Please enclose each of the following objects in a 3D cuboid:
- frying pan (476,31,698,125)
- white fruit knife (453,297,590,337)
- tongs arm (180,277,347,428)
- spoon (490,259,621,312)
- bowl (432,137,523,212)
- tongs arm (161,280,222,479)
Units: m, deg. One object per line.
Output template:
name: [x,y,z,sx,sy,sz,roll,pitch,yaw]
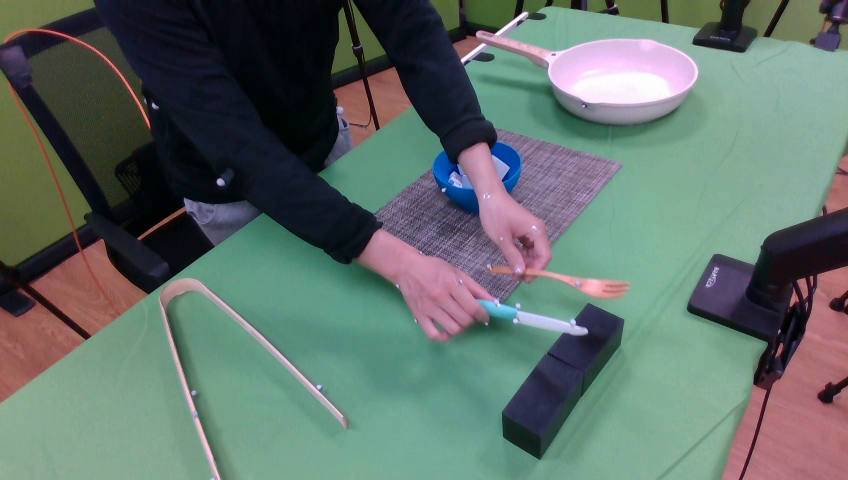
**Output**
frying pan: [0.321,-0.371,1.290,0.484,0.103,0.307,29,51,23]
white fruit knife: [0.110,0.092,0.730,0.205,0.027,0.016,7,46,46]
tongs arm: [-0.231,0.141,0.832,0.384,0.028,0.028,30,55,35]
spoon: [0.161,0.050,0.771,0.192,0.022,0.041,20,70,39]
bowl: [0.091,-0.100,1.022,0.151,0.077,0.150,-4,41,4]
tongs arm: [-0.297,0.174,0.797,0.051,0.026,0.381,-25,42,-21]
